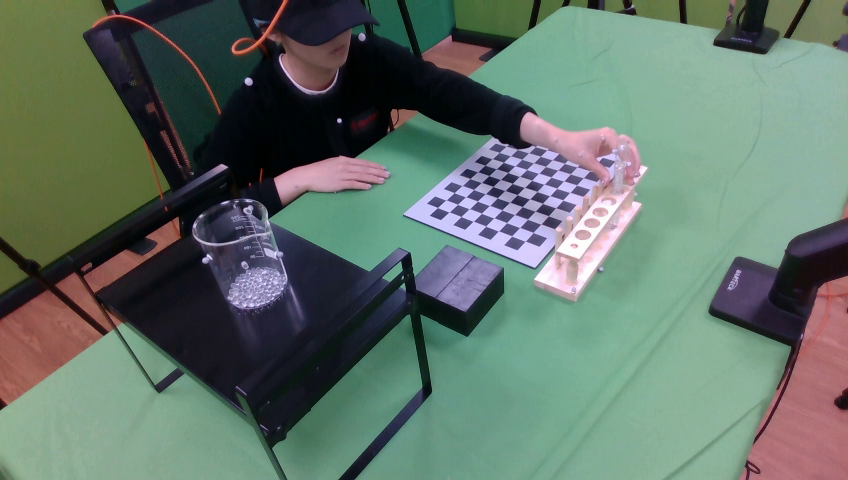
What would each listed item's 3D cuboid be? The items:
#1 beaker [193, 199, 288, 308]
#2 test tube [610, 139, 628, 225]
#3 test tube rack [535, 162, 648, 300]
[{"bbox_3d":[-0.188,0.018,0.646,0.083,0.101,0.074,9,43,17],"label":"beaker"},{"bbox_3d":[0.290,-0.083,0.902,0.017,0.151,0.017,-5,40,5],"label":"test tube"},{"bbox_3d":[0.257,-0.024,0.916,0.066,0.085,0.243,22,49,30],"label":"test tube rack"}]
